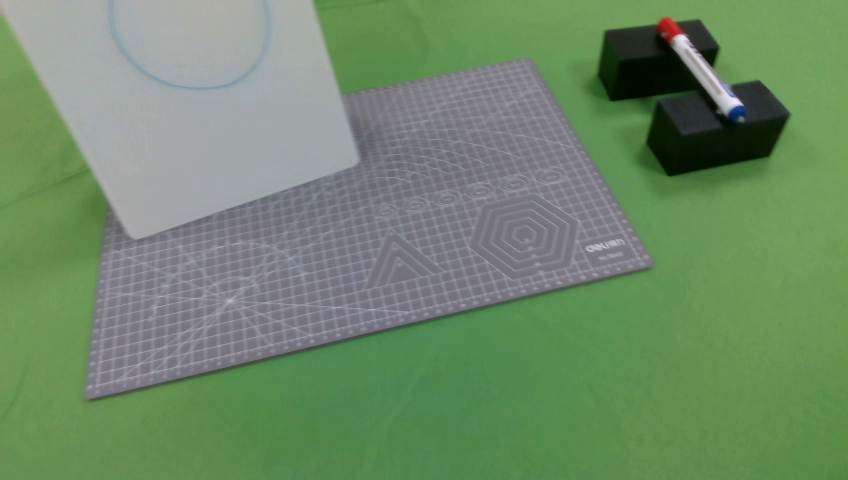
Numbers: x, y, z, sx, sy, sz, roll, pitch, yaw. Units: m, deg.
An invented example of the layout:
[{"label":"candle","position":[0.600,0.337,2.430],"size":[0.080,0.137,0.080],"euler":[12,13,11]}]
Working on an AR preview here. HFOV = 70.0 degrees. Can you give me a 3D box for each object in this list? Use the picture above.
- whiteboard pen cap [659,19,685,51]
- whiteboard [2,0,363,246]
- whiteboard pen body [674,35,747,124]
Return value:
[{"label":"whiteboard pen cap","position":[0.243,-0.199,0.589],"size":[0.017,0.017,0.032],"euler":[-10,53,-3]},{"label":"whiteboard","position":[-0.207,-0.188,0.530],"size":[0.217,0.308,0.142],"euler":[-20,33,-11]},{"label":"whiteboard pen body","position":[0.254,-0.156,0.553],"size":[0.017,0.017,0.139],"euler":[-11,52,-4]}]
